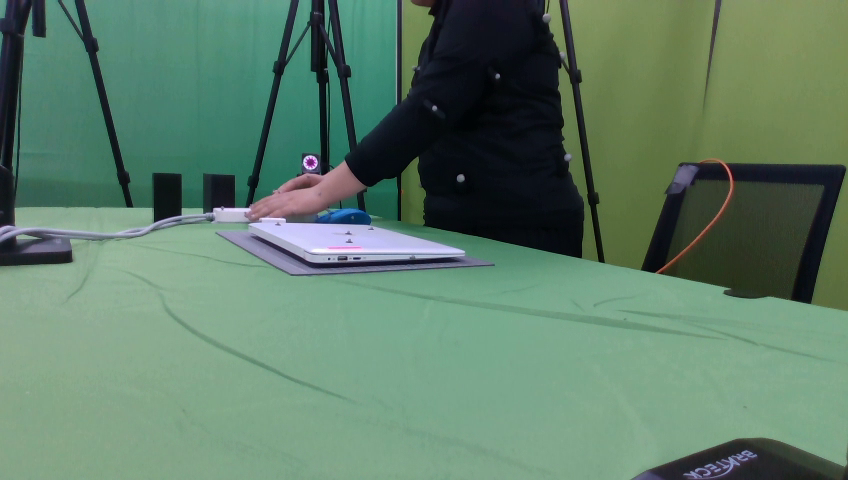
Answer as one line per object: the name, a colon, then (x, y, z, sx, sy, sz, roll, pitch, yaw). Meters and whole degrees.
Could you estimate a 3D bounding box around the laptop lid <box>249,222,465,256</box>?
laptop lid: (-0.122, -0.005, 0.954, 0.243, 0.013, 0.355, 1, 7, -28)

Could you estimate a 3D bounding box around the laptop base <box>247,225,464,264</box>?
laptop base: (-0.125, 0.006, 0.955, 0.237, 0.023, 0.352, 2, 6, -30)

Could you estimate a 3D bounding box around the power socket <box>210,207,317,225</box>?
power socket: (-0.335, -0.052, 1.282, 0.228, 0.032, 0.072, -1, 9, -28)

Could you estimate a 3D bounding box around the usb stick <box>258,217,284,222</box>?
usb stick: (-0.291, -0.028, 1.118, 0.059, 0.027, 0.021, -4, 12, -29)

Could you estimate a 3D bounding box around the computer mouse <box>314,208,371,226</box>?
computer mouse: (-0.175, -0.047, 1.292, 0.118, 0.041, 0.062, -7, 14, -33)

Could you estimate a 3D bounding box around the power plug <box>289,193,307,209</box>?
power plug: (-0.280, -0.076, 1.341, 0.035, 0.052, 0.072, 3, 7, -16)
